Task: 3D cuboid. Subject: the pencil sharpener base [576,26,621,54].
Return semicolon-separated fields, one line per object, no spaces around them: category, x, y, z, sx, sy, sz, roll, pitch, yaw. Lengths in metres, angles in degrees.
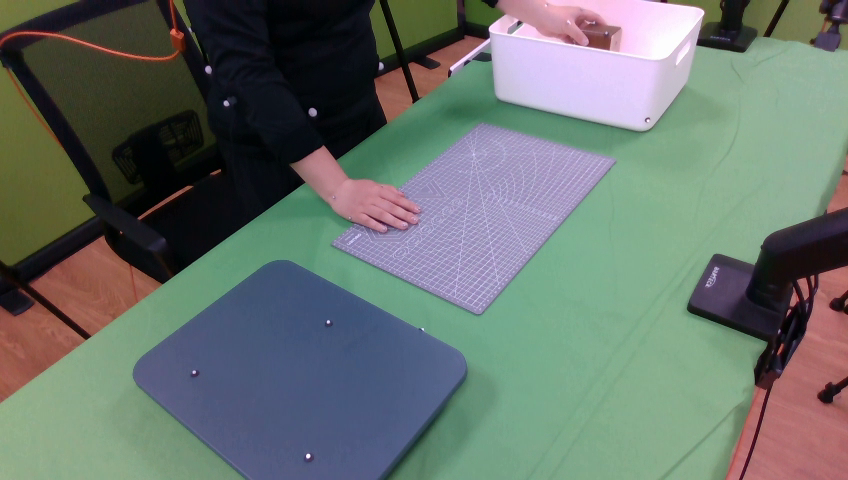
pencil sharpener base;0.356;-0.379;1.253;0.076;0.107;0.061;19;42;28

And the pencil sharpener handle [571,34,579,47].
pencil sharpener handle;0.312;-0.403;1.269;0.030;0.068;0.036;19;38;28

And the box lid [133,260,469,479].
box lid;-0.156;0.161;0.747;0.368;0.015;0.264;23;49;31

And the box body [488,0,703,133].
box body;0.346;-0.374;1.251;0.361;0.161;0.255;21;48;29
